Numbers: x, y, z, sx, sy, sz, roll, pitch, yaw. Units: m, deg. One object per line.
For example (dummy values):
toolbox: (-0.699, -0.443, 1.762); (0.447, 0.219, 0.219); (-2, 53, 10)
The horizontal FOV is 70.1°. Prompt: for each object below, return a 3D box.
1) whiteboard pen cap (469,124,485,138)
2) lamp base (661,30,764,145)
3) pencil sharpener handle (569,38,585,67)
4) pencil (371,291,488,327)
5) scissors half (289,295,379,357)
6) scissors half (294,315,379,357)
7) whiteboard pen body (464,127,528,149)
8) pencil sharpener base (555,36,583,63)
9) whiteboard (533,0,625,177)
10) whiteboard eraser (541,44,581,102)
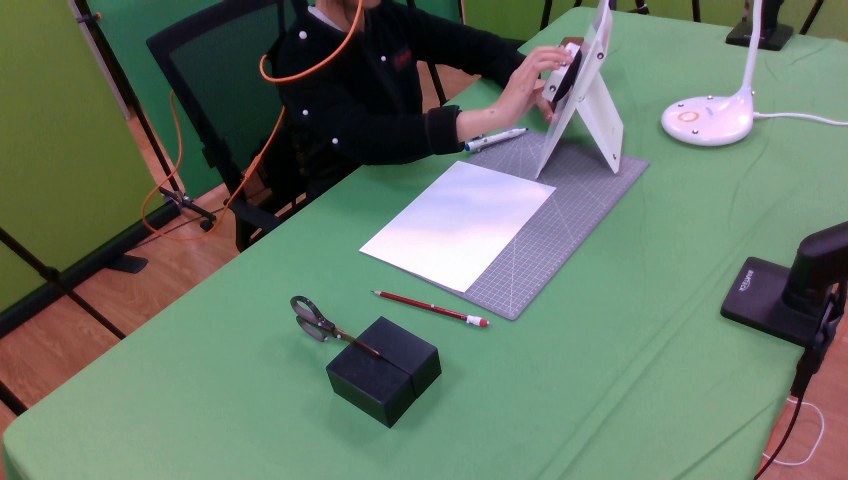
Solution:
whiteboard pen cap: (0.107, -0.220, 1.224); (0.033, 0.018, 0.018); (-37, 48, -24)
lamp base: (0.535, -0.287, 1.096); (0.179, 0.181, 0.159); (-10, 40, -4)
pencil sharpener handle: (0.333, -0.413, 1.317); (0.036, 0.068, 0.030); (19, 47, 13)
pencil: (0.003, 0.097, 0.877); (0.193, 0.012, 0.012); (13, 45, 26)
scissors half: (-0.122, 0.114, 0.803); (0.174, 0.040, 0.013); (26, 48, 32)
scissors half: (-0.119, 0.132, 0.813); (0.174, 0.040, 0.013); (9, 32, 44)
whiteboard pen body: (0.144, -0.204, 1.192); (0.141, 0.017, 0.017); (-18, 41, -15)
pencil sharpener base: (0.318, -0.371, 1.290); (0.061, 0.107, 0.076); (10, 44, 22)
whiteboard: (0.320, -0.258, 1.050); (0.144, 0.306, 0.217); (21, 45, 4)
whiteboard eraser: (0.231, -0.276, 1.004); (0.042, 0.055, 0.112); (25, 47, 7)
